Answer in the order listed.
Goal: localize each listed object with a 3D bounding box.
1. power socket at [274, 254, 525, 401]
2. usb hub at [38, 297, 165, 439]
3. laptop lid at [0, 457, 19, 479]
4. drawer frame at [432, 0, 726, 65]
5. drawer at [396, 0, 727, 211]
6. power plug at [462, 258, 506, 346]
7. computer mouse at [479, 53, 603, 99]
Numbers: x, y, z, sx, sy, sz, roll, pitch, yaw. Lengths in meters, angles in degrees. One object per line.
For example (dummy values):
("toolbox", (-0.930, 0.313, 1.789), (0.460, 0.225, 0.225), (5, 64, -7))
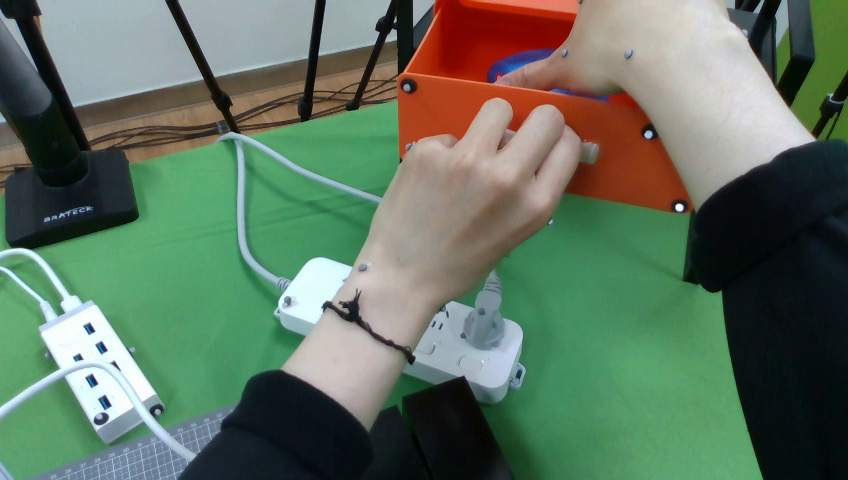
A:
("power socket", (-0.022, 0.072, 0.525), (0.226, 0.033, 0.072), (17, 48, 15))
("usb hub", (-0.265, 0.101, 0.494), (0.049, 0.025, 0.124), (-33, 56, -28))
("laptop lid", (-0.416, 0.153, 0.283), (0.357, 0.244, 0.013), (-21, 38, -18))
("drawer frame", (0.125, -0.203, 0.506), (0.201, 0.083, 0.212), (9, 47, 7))
("drawer", (0.101, -0.129, 0.440), (0.194, 0.074, 0.210), (11, 48, 9))
("power plug", (0.060, 0.059, 0.509), (0.035, 0.053, 0.072), (26, 53, 23))
("computer mouse", (0.090, -0.097, 0.433), (0.063, 0.041, 0.116), (-18, 53, -19))
